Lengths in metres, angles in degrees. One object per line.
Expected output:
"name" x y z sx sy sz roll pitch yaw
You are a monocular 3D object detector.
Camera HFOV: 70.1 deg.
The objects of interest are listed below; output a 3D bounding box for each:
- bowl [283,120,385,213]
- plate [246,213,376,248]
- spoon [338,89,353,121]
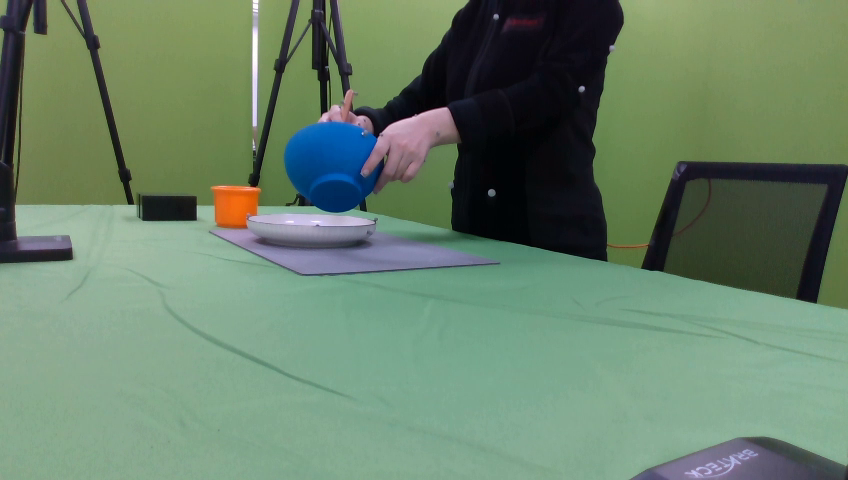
"bowl" -0.130 -0.093 0.883 0.151 0.076 0.151 -5 -36 -3
"plate" -0.185 -0.017 0.994 0.209 0.038 0.209 3 8 0
"spoon" -0.144 -0.172 0.997 0.041 0.193 0.021 8 -28 6
